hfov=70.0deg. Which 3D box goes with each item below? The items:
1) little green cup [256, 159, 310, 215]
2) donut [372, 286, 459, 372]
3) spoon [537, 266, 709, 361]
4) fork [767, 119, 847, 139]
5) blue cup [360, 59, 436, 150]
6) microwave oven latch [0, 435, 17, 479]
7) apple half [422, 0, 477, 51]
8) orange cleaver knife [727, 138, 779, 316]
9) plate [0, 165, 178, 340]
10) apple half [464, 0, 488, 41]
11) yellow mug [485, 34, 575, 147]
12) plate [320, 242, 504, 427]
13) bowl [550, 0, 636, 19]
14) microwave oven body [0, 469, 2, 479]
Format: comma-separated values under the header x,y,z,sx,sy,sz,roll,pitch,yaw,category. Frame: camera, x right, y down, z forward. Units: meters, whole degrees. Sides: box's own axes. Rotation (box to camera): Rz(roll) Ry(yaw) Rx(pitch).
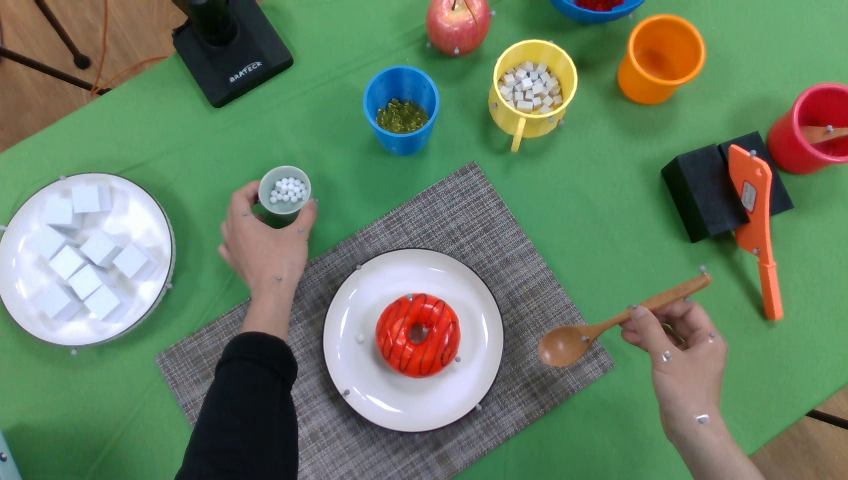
x,y,z,sx,sy,sz,roll,pitch,yaw,category
-0.166,-0.061,0.724,0.061,0.039,0.061,-1,71,2,little green cup
-0.009,0.101,0.688,0.099,0.048,0.098,0,80,1,donut
0.191,0.074,0.599,0.022,0.194,0.041,4,60,-43,spoon
0.506,-0.130,0.690,0.206,0.019,0.028,7,62,44,fork
-0.029,-0.151,0.718,0.093,0.100,0.092,0,80,-1,blue cup
-0.477,0.232,0.661,0.030,0.029,0.079,-26,81,-5,microwave oven latch
0.026,-0.273,0.755,0.053,0.075,0.080,-27,83,-2,apple half
0.379,-0.014,0.701,0.012,0.076,0.212,-18,109,-1,orange cleaver knife
-0.393,0.015,0.720,0.208,0.039,0.206,0,79,0,plate
0.061,-0.291,0.757,0.033,0.081,0.081,-27,80,-3,apple half
0.123,-0.176,0.740,0.100,0.064,0.130,15,80,3,yellow mug
-0.014,0.106,0.698,0.209,0.038,0.208,0,80,0,plate
0.208,-0.338,0.764,0.151,0.077,0.151,0,80,0,bowl
-0.518,0.435,0.525,0.326,0.261,0.440,-29,81,-6,microwave oven body
